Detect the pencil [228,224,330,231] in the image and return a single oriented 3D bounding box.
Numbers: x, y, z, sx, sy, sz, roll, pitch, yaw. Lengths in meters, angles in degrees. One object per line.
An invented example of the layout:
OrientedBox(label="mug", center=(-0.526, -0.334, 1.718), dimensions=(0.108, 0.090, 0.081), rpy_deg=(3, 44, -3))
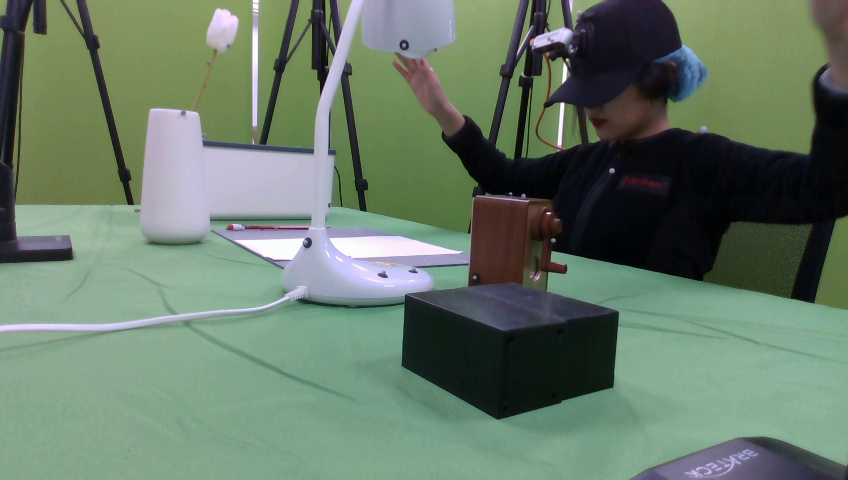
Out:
OrientedBox(label="pencil", center=(-0.265, -0.023, 1.124), dimensions=(0.195, 0.012, 0.012), rpy_deg=(-1, 8, -32))

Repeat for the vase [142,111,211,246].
OrientedBox(label="vase", center=(-0.378, -0.093, 0.920), dimensions=(0.098, 0.200, 0.098), rpy_deg=(2, 9, 0))

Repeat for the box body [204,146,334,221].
OrientedBox(label="box body", center=(-0.413, -0.134, 1.379), dimensions=(0.366, 0.160, 0.253), rpy_deg=(-2, 9, -31))

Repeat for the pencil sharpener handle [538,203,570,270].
OrientedBox(label="pencil sharpener handle", center=(0.137, -0.003, 0.619), dimensions=(0.030, 0.067, 0.036), rpy_deg=(8, 5, 38))

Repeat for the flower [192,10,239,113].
OrientedBox(label="flower", center=(-0.354, -0.174, 0.915), dimensions=(0.038, 0.361, 0.044), rpy_deg=(18, -4, 12))

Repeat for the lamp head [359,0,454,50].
OrientedBox(label="lamp head", center=(-0.024, -0.283, 0.674), dimensions=(0.112, 0.123, 0.112), rpy_deg=(-3, 38, 3))

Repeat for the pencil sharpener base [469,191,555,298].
OrientedBox(label="pencil sharpener base", center=(0.097, 0.003, 0.652), dimensions=(0.076, 0.107, 0.061), rpy_deg=(8, 9, 38))

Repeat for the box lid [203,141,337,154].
OrientedBox(label="box lid", center=(-0.407, -0.209, 1.370), dimensions=(0.373, 0.015, 0.262), rpy_deg=(-1, 8, -31))

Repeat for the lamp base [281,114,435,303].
OrientedBox(label="lamp base", center=(-0.071, -0.035, 0.614), dimensions=(0.160, 0.180, 0.180), rpy_deg=(6, 10, 27))
